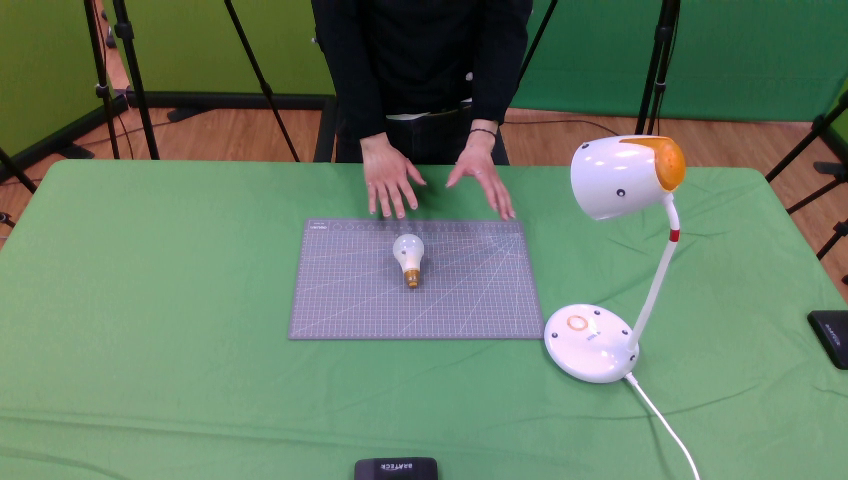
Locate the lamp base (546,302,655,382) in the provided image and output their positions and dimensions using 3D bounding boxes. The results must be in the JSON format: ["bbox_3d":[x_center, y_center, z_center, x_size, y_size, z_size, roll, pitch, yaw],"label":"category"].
[{"bbox_3d":[0.303,0.127,0.982,0.160,0.181,0.178,-34,59,-29],"label":"lamp base"}]

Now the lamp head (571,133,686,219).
[{"bbox_3d":[0.271,-0.085,0.780,0.112,0.113,0.122,-39,22,-33],"label":"lamp head"}]

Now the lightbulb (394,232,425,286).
[{"bbox_3d":[-0.025,0.036,1.134,0.059,0.060,0.107,-4,62,-7],"label":"lightbulb"}]
